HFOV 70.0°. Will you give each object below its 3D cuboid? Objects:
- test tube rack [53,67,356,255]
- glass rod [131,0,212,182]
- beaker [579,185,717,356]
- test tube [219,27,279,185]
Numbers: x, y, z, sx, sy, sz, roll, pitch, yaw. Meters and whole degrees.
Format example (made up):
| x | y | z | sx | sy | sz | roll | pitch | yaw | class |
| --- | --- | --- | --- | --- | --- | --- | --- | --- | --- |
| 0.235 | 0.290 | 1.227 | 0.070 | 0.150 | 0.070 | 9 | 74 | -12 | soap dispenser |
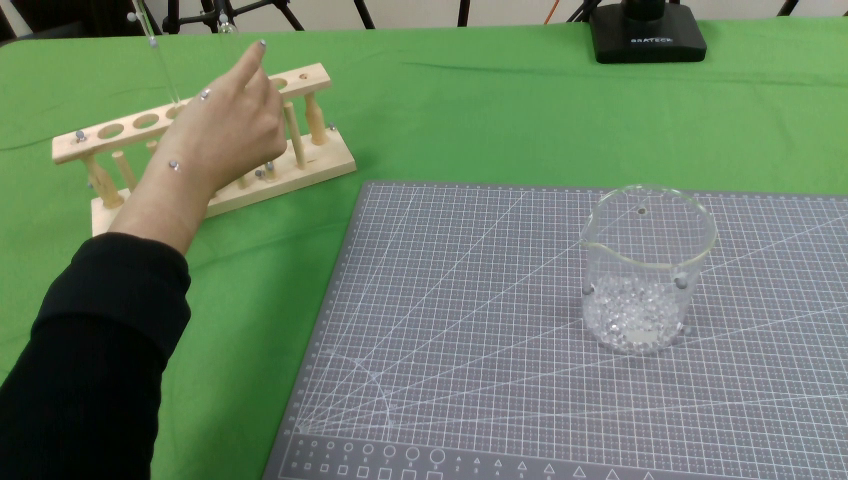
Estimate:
| x | y | z | sx | sy | sz | roll | pitch | yaw | class |
| --- | --- | --- | --- | --- | --- | --- | --- | --- | --- |
| -0.194 | -0.076 | 0.559 | 0.243 | 0.086 | 0.066 | -20 | 47 | -13 | test tube rack |
| -0.211 | -0.121 | 0.512 | 0.008 | 0.201 | 0.008 | -1 | 49 | 1 | glass rod |
| 0.142 | 0.026 | 0.410 | 0.084 | 0.101 | 0.073 | -10 | 45 | -2 | beaker |
| -0.149 | -0.110 | 0.525 | 0.017 | 0.151 | 0.017 | -2 | 43 | 2 | test tube |
